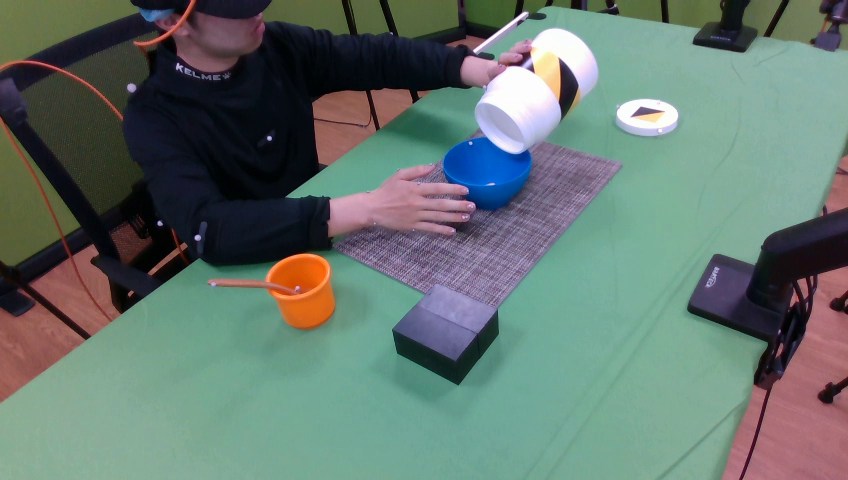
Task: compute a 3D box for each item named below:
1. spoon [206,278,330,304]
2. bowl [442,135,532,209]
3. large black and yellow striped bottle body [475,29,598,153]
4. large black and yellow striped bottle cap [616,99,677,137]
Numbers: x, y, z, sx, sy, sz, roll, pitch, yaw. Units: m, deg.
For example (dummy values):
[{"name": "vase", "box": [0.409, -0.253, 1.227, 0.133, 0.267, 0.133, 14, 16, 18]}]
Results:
[{"name": "spoon", "box": [-0.207, 0.066, 0.824, 0.041, 0.195, 0.021, 33, 99, 41]}, {"name": "bowl", "box": [0.108, -0.106, 1.026, 0.151, 0.077, 0.150, -4, 41, 4]}, {"name": "large black and yellow striped bottle body", "box": [0.183, -0.243, 1.003, 0.129, 0.132, 0.184, 32, 71, 37]}, {"name": "large black and yellow striped bottle cap", "box": [0.438, -0.241, 1.190, 0.115, 0.019, 0.114, -4, 42, 4]}]
